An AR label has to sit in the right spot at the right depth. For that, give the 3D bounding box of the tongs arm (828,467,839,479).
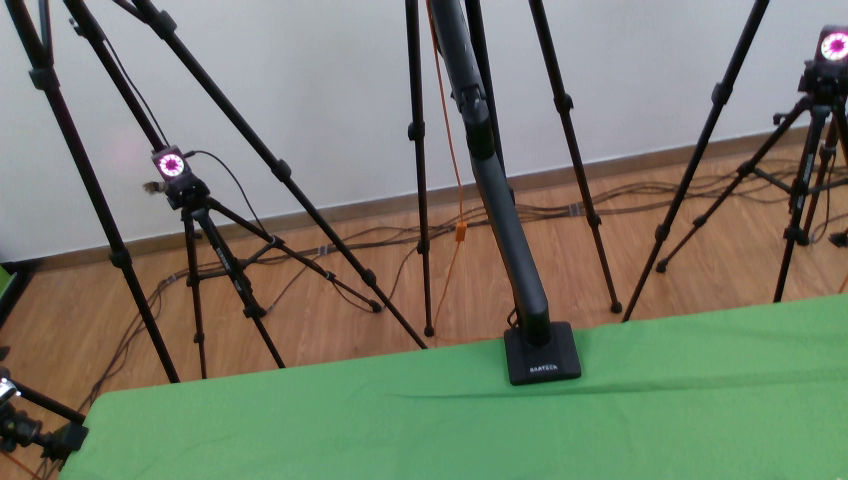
[{"bbox_3d":[0.469,0.438,0.635,0.050,0.027,0.381,-21,46,29],"label":"tongs arm"}]
